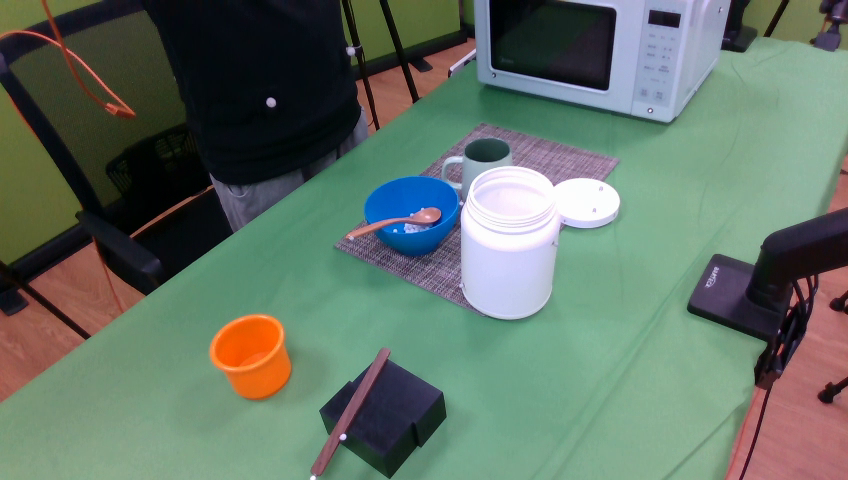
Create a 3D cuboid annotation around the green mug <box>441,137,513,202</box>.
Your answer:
[{"bbox_3d":[0.091,-0.107,1.012,0.125,0.105,0.092,2,42,11],"label":"green mug"}]

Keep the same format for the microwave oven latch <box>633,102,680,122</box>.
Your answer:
[{"bbox_3d":[0.444,-0.249,1.157,0.078,0.029,0.030,21,49,30],"label":"microwave oven latch"}]

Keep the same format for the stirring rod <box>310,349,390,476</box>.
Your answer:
[{"bbox_3d":[-0.081,0.191,0.693,0.014,0.006,0.176,8,41,24],"label":"stirring rod"}]

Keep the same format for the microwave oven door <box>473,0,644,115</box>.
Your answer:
[{"bbox_3d":[0.257,-0.396,1.199,0.353,0.245,0.039,21,48,29],"label":"microwave oven door"}]

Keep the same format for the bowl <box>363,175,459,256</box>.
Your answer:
[{"bbox_3d":[-0.017,-0.029,0.955,0.151,0.077,0.150,-4,40,4],"label":"bowl"}]

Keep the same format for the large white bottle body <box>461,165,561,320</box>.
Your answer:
[{"bbox_3d":[0.115,0.004,0.816,0.130,0.185,0.130,-2,43,2],"label":"large white bottle body"}]

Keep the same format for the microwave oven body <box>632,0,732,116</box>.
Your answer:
[{"bbox_3d":[0.377,-0.462,1.267,0.438,0.261,0.327,21,48,30],"label":"microwave oven body"}]

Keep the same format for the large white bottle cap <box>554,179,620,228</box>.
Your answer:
[{"bbox_3d":[0.265,-0.062,1.001,0.115,0.018,0.114,-3,41,3],"label":"large white bottle cap"}]

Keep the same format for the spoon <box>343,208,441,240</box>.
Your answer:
[{"bbox_3d":[-0.046,-0.025,0.912,0.041,0.021,0.195,27,27,37],"label":"spoon"}]
